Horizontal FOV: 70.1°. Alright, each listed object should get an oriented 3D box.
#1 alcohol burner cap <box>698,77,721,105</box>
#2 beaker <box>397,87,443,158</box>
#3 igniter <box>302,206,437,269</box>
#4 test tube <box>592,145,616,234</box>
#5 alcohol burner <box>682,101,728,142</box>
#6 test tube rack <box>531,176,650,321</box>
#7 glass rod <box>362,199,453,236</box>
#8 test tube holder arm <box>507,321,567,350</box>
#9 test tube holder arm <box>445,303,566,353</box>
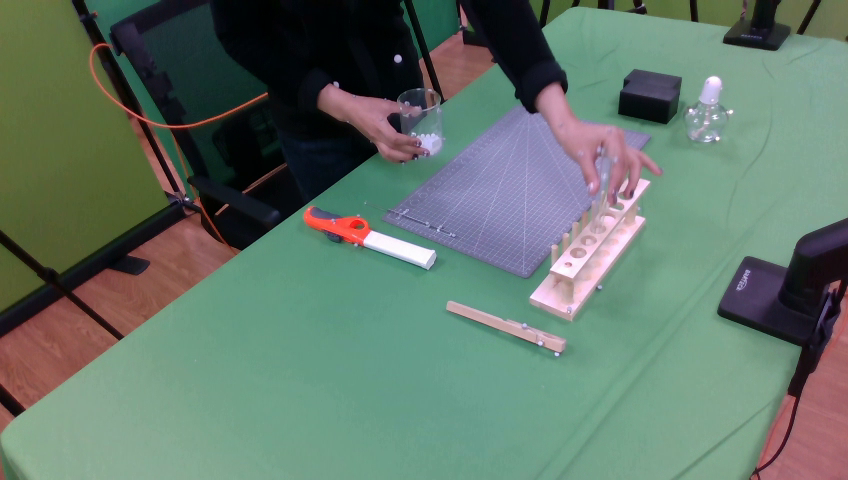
[{"bbox_3d":[0.509,-0.266,1.072,0.034,0.048,0.033,-4,48,5],"label":"alcohol burner cap"},{"bbox_3d":[-0.006,-0.197,1.032,0.073,0.100,0.084,21,49,26],"label":"beaker"},{"bbox_3d":[-0.101,-0.007,1.005,0.274,0.025,0.057,19,57,29],"label":"igniter"},{"bbox_3d":[0.237,-0.058,0.799,0.017,0.151,0.017,-3,41,3],"label":"test tube"},{"bbox_3d":[0.513,-0.239,1.097,0.078,0.119,0.077,-4,40,4],"label":"alcohol burner"},{"bbox_3d":[0.246,0.002,0.884,0.066,0.085,0.243,22,49,32],"label":"test tube rack"},{"bbox_3d":[-0.031,-0.041,1.041,0.198,0.008,0.008,22,50,31],"label":"glass rod"},{"bbox_3d":[0.148,0.128,0.808,0.087,0.015,0.010,16,11,28],"label":"test tube holder arm"},{"bbox_3d":[0.107,0.117,0.824,0.177,0.015,0.013,16,11,27],"label":"test tube holder arm"}]
